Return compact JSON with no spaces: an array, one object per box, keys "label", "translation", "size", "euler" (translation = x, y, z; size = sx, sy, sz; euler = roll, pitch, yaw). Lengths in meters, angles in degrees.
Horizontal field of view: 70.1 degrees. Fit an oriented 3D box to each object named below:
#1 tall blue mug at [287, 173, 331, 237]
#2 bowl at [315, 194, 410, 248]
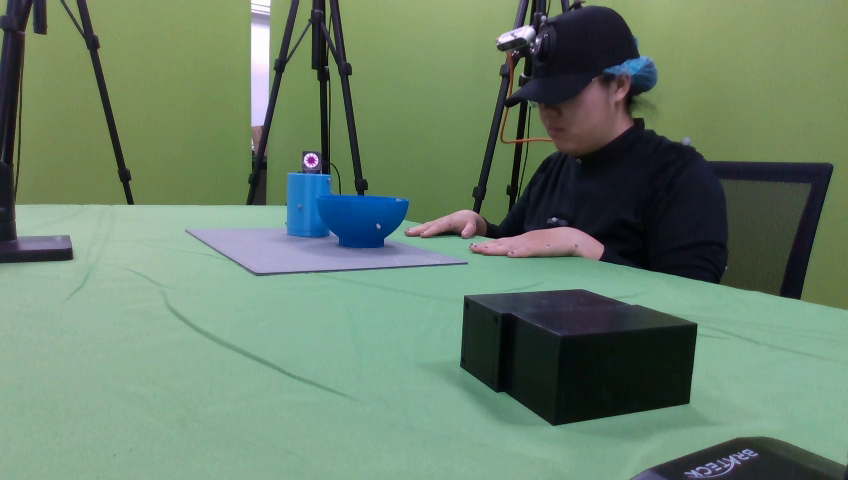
[{"label":"tall blue mug","translation":[-0.207,-0.066,1.088],"size":[0.078,0.108,0.107],"euler":[0,8,-12]},{"label":"bowl","translation":[-0.100,-0.030,0.971],"size":[0.151,0.077,0.151],"euler":[2,7,0]}]
